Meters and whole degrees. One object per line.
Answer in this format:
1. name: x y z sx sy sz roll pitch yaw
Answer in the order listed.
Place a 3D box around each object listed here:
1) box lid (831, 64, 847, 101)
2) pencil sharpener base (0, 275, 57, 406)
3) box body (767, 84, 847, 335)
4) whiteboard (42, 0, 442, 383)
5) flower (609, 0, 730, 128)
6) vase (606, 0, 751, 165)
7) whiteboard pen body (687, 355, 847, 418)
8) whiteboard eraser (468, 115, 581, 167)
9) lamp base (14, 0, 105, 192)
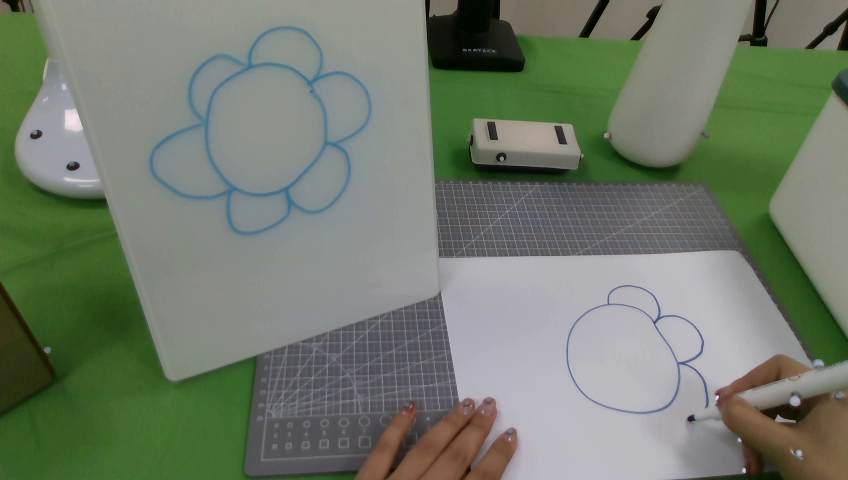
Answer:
1. box lid: 0.491 -0.019 0.425 0.264 0.015 0.367 1 46 -7
2. pencil sharpener base: -0.296 0.051 0.383 0.076 0.108 0.061 35 52 24
3. box body: 0.485 0.032 0.480 0.255 0.162 0.360 1 46 -7
4. whiteboard: -0.119 -0.088 0.447 0.218 0.308 0.142 -16 31 -21
5. flower: 0.280 -0.222 0.554 0.044 0.363 0.038 -22 70 -34
6. vase: 0.261 -0.175 0.621 0.098 0.201 0.097 5 46 -5
7. whiteboard pen body: 0.233 0.099 0.400 0.017 0.141 0.017 19 53 -27
8. whiteboard eraser: 0.104 -0.102 0.637 0.113 0.042 0.055 1 44 -6
9. lamp base: -0.306 -0.161 0.535 0.178 0.182 0.160 29 49 22
